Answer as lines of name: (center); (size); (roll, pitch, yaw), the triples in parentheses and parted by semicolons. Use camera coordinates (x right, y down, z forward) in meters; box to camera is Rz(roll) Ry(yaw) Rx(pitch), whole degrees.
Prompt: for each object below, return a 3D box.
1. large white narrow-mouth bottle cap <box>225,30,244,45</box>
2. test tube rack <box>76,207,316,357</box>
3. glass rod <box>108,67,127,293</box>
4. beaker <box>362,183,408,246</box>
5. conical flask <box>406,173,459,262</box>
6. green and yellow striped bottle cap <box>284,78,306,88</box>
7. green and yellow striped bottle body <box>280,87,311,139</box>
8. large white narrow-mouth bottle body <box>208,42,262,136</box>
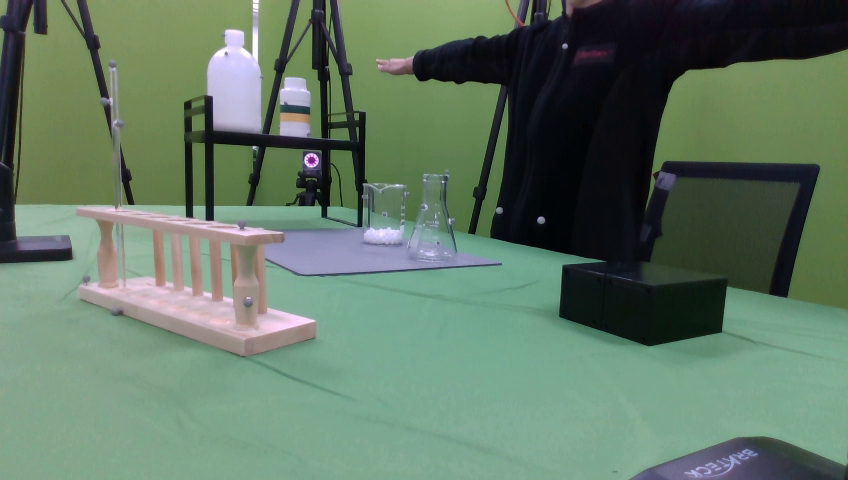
large white narrow-mouth bottle cap: (-0.365, -0.390, 1.166); (0.038, 0.024, 0.037); (2, 9, 0)
test tube rack: (-0.196, 0.023, 0.500); (0.241, 0.085, 0.067); (8, 9, 36)
glass rod: (-0.268, -0.050, 0.527); (0.008, 0.199, 0.008); (-1, 3, 0)
beaker: (-0.066, -0.043, 0.996); (0.074, 0.100, 0.084); (3, 8, 6)
conical flask: (0.014, -0.033, 0.851); (0.075, 0.122, 0.075); (2, 7, 0)
green and yellow striped bottle cap: (-0.268, -0.325, 1.259); (0.045, 0.020, 0.045); (5, 8, 0)
green and yellow striped bottle body: (-0.269, -0.274, 1.266); (0.063, 0.119, 0.063); (3, 7, 0)
large white narrow-mouth bottle body: (-0.369, -0.304, 1.181); (0.102, 0.194, 0.101); (2, 9, 0)
